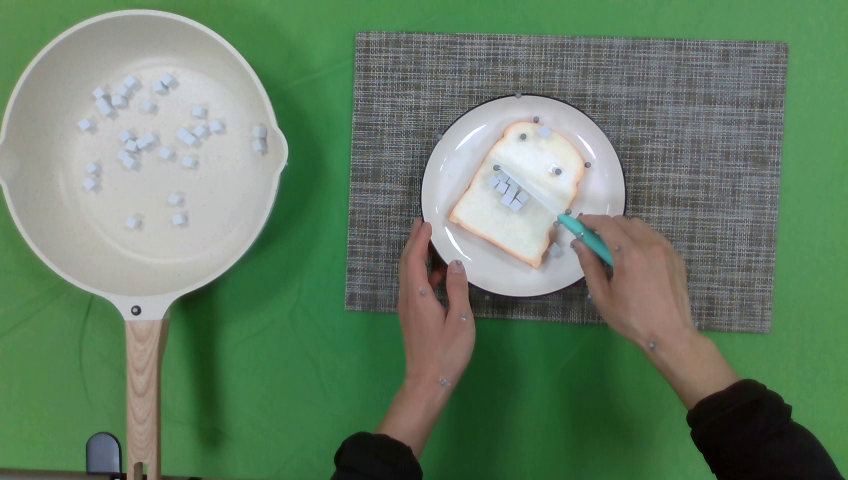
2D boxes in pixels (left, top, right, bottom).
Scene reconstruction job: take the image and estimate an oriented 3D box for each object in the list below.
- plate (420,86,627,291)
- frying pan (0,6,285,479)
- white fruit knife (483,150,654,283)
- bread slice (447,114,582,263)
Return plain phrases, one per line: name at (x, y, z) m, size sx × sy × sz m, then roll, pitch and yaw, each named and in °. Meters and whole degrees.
plate at (0.100, -0.052, 0.626) m, size 0.207 × 0.039 × 0.207 m, roll 0°, pitch 92°, yaw 4°
frying pan at (-0.286, 0.016, 0.623) m, size 0.307 × 0.103 × 0.486 m, roll -2°, pitch 84°, yaw 4°
white fruit knife at (0.137, -0.026, 0.592) m, size 0.206 × 0.027 × 0.016 m, roll 40°, pitch 114°, yaw 12°
bread slice at (0.098, -0.060, 0.627) m, size 0.107 × 0.018 × 0.134 m, roll 26°, pitch 95°, yaw 1°
